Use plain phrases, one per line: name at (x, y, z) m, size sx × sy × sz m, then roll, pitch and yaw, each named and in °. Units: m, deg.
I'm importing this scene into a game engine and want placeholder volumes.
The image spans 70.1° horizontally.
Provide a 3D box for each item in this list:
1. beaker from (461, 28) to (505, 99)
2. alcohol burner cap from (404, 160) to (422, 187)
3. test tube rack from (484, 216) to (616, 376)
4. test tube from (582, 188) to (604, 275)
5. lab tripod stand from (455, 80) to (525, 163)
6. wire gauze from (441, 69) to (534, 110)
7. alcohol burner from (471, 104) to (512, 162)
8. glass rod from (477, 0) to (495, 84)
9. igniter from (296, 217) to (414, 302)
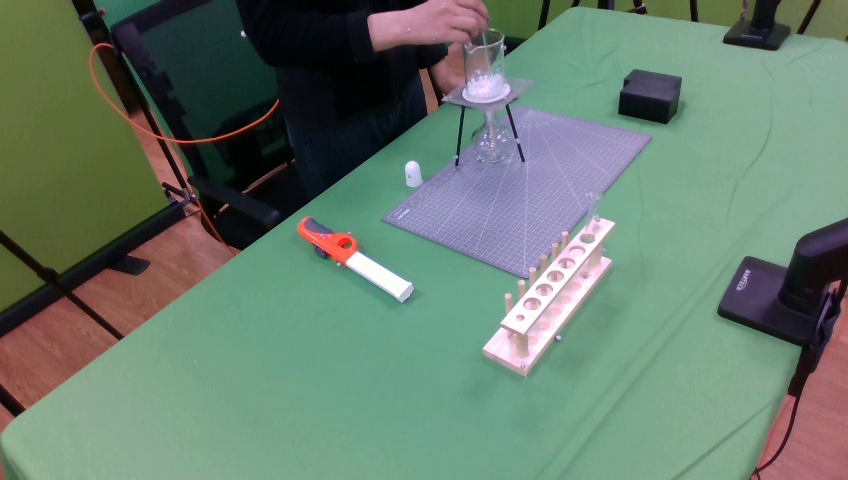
beaker at (0.103, -0.304, 1.051) m, size 0.073 × 0.101 × 0.084 m, roll 19°, pitch 48°, yaw 29°
alcohol burner cap at (-0.022, -0.125, 1.118) m, size 0.034 × 0.048 × 0.033 m, roll -4°, pitch 41°, yaw 4°
test tube rack at (0.174, 0.064, 0.823) m, size 0.066 × 0.085 × 0.243 m, roll 23°, pitch 49°, yaw 32°
test tube at (0.228, -0.007, 0.821) m, size 0.017 × 0.151 × 0.017 m, roll -3°, pitch 42°, yaw 3°
lab tripod stand at (0.120, -0.220, 1.126) m, size 0.148 × 0.132 × 0.147 m, roll -4°, pitch 40°, yaw 4°
wire gauze at (0.114, -0.268, 1.082) m, size 0.120 × 0.011 × 0.125 m, roll 22°, pitch 47°, yaw 28°
alcohol burner at (0.125, -0.207, 1.126) m, size 0.078 × 0.119 × 0.077 m, roll -5°, pitch 43°, yaw 5°
glass rod at (0.103, -0.345, 1.014) m, size 0.008 × 0.201 × 0.008 m, roll -8°, pitch 49°, yaw 10°
igniter at (-0.121, 0.025, 0.970) m, size 0.274 × 0.025 × 0.057 m, roll 29°, pitch 63°, yaw 37°
